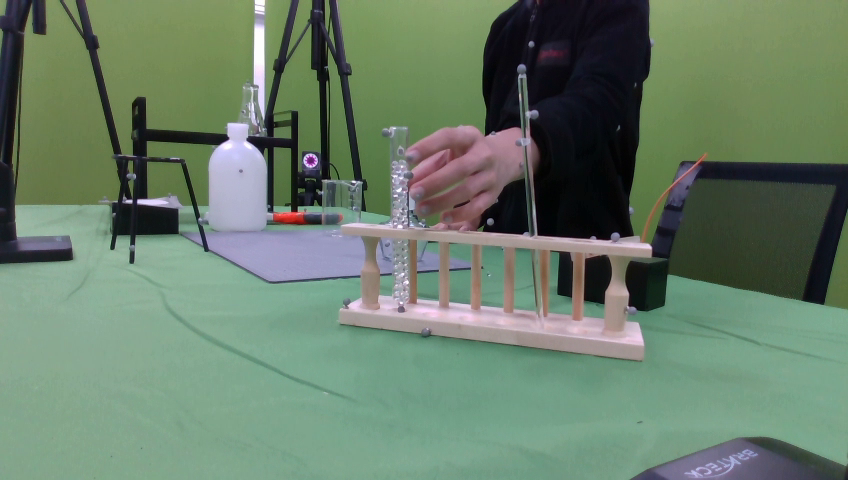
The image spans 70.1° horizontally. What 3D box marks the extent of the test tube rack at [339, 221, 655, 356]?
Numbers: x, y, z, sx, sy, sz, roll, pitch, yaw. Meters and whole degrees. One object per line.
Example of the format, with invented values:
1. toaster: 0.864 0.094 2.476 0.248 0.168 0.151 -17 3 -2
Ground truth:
1. test tube rack: 0.056 0.032 0.495 0.242 0.085 0.067 4 7 15

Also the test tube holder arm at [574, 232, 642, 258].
1. test tube holder arm: 0.202 0.003 0.651 0.013 0.015 0.179 -4 2 36

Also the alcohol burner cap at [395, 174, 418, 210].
1. alcohol burner cap: -0.026 -0.067 0.833 0.034 0.048 0.034 -2 12 1

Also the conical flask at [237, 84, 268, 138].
1. conical flask: -0.402 -0.299 1.406 0.075 0.122 0.075 2 7 0

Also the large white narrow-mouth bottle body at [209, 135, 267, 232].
1. large white narrow-mouth bottle body: -0.340 -0.115 1.109 0.102 0.194 0.102 2 8 0

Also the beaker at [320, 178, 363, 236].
1. beaker: -0.145 -0.059 1.079 0.074 0.100 0.083 -4 10 -36

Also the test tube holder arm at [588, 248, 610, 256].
1. test tube holder arm: 0.180 0.006 0.611 0.010 0.015 0.088 -4 2 36

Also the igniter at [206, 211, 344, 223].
1. igniter: -0.302 -0.048 1.249 0.278 0.025 0.057 -2 -2 -26

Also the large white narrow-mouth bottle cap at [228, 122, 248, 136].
1. large white narrow-mouth bottle cap: -0.338 -0.200 1.097 0.038 0.024 0.037 2 8 0

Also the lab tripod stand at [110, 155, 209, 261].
1. lab tripod stand: -0.362 -0.046 0.806 0.148 0.131 0.148 2 5 0

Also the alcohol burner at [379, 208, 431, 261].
1. alcohol burner: -0.027 -0.031 0.838 0.078 0.119 0.078 0 6 0

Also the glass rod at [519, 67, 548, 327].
1. glass rod: 0.084 -0.029 0.459 0.008 0.199 0.008 -7 11 2

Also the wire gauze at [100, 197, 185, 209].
1. wire gauze: -0.469 -0.062 1.008 0.126 0.011 0.121 -2 8 -25

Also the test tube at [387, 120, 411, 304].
1. test tube: -0.019 -0.021 0.488 0.017 0.150 0.017 -1 13 1
